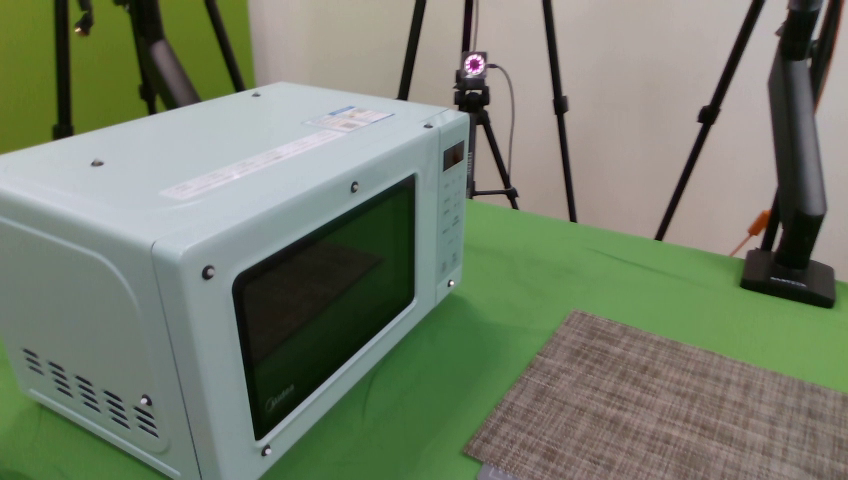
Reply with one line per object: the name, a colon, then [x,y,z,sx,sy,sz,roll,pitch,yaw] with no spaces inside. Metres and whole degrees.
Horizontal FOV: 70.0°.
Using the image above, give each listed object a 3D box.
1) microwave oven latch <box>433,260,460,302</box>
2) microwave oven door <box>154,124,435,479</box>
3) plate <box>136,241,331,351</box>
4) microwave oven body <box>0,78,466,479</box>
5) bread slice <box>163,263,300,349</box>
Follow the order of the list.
microwave oven latch: [0.021,0.053,0.809,0.030,0.030,0.079,16,31,26]
microwave oven door: [-0.088,0.045,0.591,0.039,0.245,0.355,15,30,26]
plate: [-0.208,0.063,0.680,0.209,0.038,0.207,0,27,0]
microwave oven body: [-0.195,0.001,0.689,0.324,0.262,0.441,15,31,25]
bread slice: [-0.211,0.065,0.685,0.104,0.019,0.131,22,36,33]
